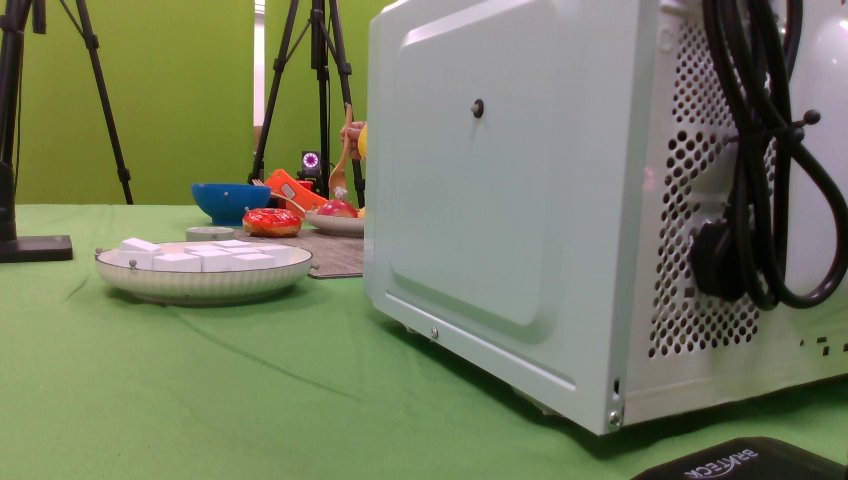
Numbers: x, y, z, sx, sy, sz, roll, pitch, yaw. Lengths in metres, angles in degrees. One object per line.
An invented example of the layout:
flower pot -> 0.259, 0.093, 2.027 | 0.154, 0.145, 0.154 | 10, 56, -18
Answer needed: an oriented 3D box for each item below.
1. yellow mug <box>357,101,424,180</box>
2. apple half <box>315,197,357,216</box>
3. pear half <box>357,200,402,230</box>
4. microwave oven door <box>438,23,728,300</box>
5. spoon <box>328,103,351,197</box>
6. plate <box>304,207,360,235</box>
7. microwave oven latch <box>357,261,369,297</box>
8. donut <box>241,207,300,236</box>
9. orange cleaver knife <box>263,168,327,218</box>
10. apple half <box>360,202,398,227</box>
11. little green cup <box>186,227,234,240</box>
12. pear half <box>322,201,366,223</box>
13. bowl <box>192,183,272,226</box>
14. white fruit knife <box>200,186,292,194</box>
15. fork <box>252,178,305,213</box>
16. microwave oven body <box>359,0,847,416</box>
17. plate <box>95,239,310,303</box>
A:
yellow mug -> -0.058, -0.175, 1.031 | 0.100, 0.131, 0.063 | -18, 41, -22
apple half -> -0.161, -0.052, 1.121 | 0.081, 0.053, 0.074 | 4, 7, -14
pear half -> -0.074, -0.047, 1.132 | 0.076, 0.056, 0.110 | 12, 8, 32
microwave oven door -> 0.181, -0.072, 0.621 | 0.358, 0.243, 0.039 | -2, 8, -29
spoon -> -0.155, -0.173, 1.155 | 0.042, 0.193, 0.021 | 20, -18, -39
plate -> -0.123, -0.037, 1.149 | 0.209, 0.038, 0.209 | 2, 7, 0
microwave oven latch -> -0.019, 0.033, 0.530 | 0.079, 0.029, 0.030 | -1, 7, -26
donut -> -0.263, -0.031, 1.039 | 0.099, 0.048, 0.099 | 5, 10, 0
orange cleaver knife -> -0.263, -0.087, 1.353 | 0.211, 0.077, 0.012 | 28, 13, -1
apple half -> -0.087, -0.057, 1.191 | 0.081, 0.033, 0.081 | 7, 29, -4
little green cup -> -0.285, 0.005, 0.805 | 0.061, 0.038, 0.061 | 2, 8, 0
pear half -> -0.157, -0.059, 1.197 | 0.088, 0.031, 0.070 | 11, 31, -5
bowl -> -0.381, -0.071, 1.202 | 0.151, 0.077, 0.151 | 3, 7, 0
white fruit knife -> -0.399, -0.111, 1.368 | 0.208, 0.016, 0.027 | -4, -19, -30
fork -> -0.295, -0.084, 1.292 | 0.206, 0.018, 0.028 | 29, 10, 25
microwave oven body -> 0.211, -0.047, 0.474 | 0.444, 0.260, 0.324 | -1, 7, -28
plate -> -0.224, 0.031, 0.629 | 0.208, 0.039, 0.207 | 2, 7, 0
